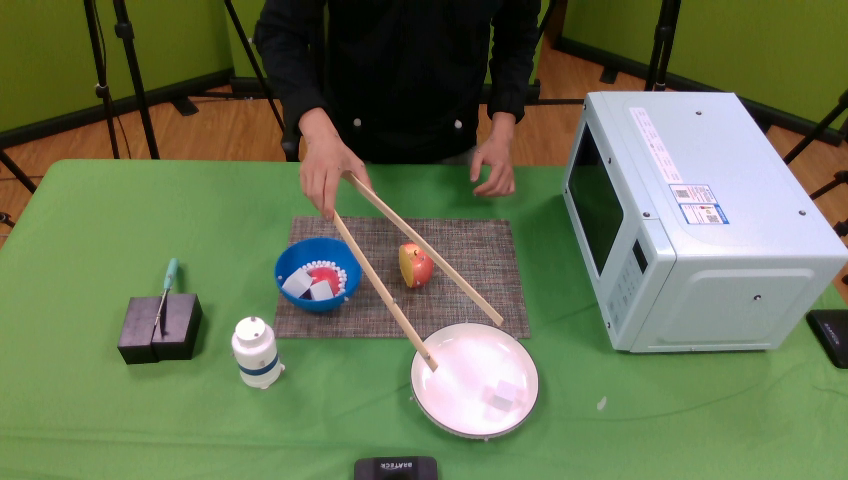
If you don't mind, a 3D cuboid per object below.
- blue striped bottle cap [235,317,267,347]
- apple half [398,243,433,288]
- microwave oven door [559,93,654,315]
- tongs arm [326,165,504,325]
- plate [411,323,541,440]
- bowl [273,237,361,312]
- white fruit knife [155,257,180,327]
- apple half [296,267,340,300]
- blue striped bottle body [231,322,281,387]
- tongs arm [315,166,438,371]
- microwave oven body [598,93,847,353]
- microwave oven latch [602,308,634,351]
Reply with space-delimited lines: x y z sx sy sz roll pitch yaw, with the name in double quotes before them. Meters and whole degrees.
"blue striped bottle cap" -0.260 0.137 0.907 0.044 0.021 0.044 2 43 -2
"apple half" -0.011 0.046 1.115 0.053 0.075 0.080 -11 44 -19
"microwave oven door" 0.327 -0.074 1.123 0.039 0.245 0.353 0 46 -5
"tongs arm" -0.019 0.002 0.975 0.386 0.028 0.028 43 63 15
"plate" 0.082 0.228 0.976 0.208 0.039 0.206 2 45 -2
"bowl" -0.186 0.075 1.069 0.151 0.077 0.150 3 46 -3
"white fruit knife" -0.440 0.085 1.037 0.016 0.027 0.206 10 26 -19
"apple half" -0.187 0.071 1.067 0.081 0.033 0.081 2 46 -2
"blue striped bottle body" -0.262 0.171 0.944 0.063 0.121 0.062 2 46 -2
"tongs arm" -0.075 0.034 0.940 0.051 0.026 0.383 -28 67 -25
"microwave oven body" 0.475 -0.041 1.109 0.326 0.261 0.438 -1 45 -4
"microwave oven latch" 0.332 0.153 1.044 0.030 0.029 0.078 -1 45 -4
